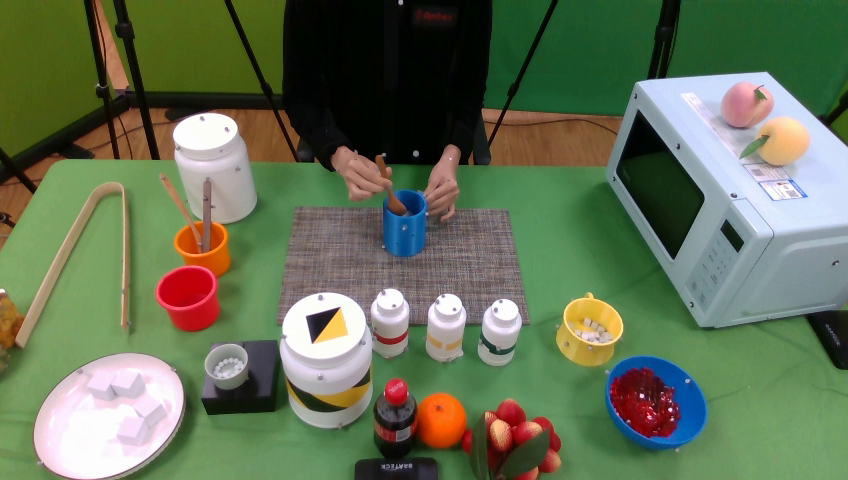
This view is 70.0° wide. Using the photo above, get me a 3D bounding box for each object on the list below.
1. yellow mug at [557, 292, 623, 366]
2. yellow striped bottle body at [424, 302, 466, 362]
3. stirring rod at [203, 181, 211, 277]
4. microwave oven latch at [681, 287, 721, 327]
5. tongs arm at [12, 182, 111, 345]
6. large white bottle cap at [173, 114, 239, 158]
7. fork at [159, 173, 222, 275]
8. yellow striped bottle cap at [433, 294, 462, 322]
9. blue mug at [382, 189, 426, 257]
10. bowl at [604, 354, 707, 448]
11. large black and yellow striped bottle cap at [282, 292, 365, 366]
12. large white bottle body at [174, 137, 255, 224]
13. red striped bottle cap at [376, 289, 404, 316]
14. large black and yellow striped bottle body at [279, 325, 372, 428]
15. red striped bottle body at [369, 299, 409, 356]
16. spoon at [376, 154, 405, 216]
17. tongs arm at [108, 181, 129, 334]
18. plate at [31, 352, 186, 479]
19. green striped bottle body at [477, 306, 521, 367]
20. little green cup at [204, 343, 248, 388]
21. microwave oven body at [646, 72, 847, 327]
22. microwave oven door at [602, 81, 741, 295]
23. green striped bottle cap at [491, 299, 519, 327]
[{"bbox_3d":[0.285,0.145,1.051,0.100,0.064,0.130,7,45,4],"label":"yellow mug"},{"bbox_3d":[0.035,0.143,0.995,0.063,0.121,0.062,3,46,-3],"label":"yellow striped bottle body"},{"bbox_3d":[-0.396,-0.021,1.107,0.014,0.006,0.176,-1,89,-1],"label":"stirring rod"},{"bbox_3d":[0.494,0.119,1.087,0.030,0.029,0.078,-6,46,-9],"label":"microwave oven latch"},{"bbox_3d":[-0.657,0.027,1.109,0.028,0.028,0.385,-2,45,1],"label":"tongs arm"},{"bbox_3d":[-0.403,-0.195,1.122,0.115,0.018,0.114,2,47,-2],"label":"large white bottle cap"},{"bbox_3d":[-0.427,-0.029,1.103,0.028,0.018,0.207,-31,99,-31],"label":"fork"},{"bbox_3d":[0.037,0.107,0.958,0.044,0.019,0.044,2,45,-2],"label":"yellow striped bottle cap"},{"bbox_3d":[-0.031,-0.042,1.173,0.082,0.106,0.116,28,50,21],"label":"blue mug"},{"bbox_3d":[0.346,0.261,0.937,0.151,0.077,0.150,2,46,-2],"label":"bowl"},{"bbox_3d":[-0.139,0.121,0.841,0.115,0.019,0.114,3,47,-3],"label":"large black and yellow striped bottle cap"},{"bbox_3d":[-0.408,-0.136,1.183,0.131,0.185,0.130,2,46,-2],"label":"large white bottle body"},{"bbox_3d":[-0.055,0.098,0.958,0.044,0.018,0.044,0,48,0],"label":"red striped bottle cap"},{"bbox_3d":[-0.143,0.181,0.900,0.131,0.185,0.130,2,46,-2],"label":"large black and yellow striped bottle body"},{"bbox_3d":[-0.058,0.134,0.997,0.063,0.120,0.062,4,47,-4],"label":"red striped bottle body"},{"bbox_3d":[-0.065,-0.093,1.082,0.041,0.195,0.021,-11,56,2],"label":"spoon"},{"bbox_3d":[-0.571,0.019,1.123,0.051,0.026,0.382,-10,47,-12],"label":"tongs arm"},{"bbox_3d":[-0.459,0.262,0.898,0.209,0.038,0.208,2,46,-2],"label":"plate"},{"bbox_3d":[0.124,0.151,0.995,0.063,0.120,0.063,2,46,-2],"label":"green striped bottle body"},{"bbox_3d":[-0.294,0.190,0.909,0.061,0.039,0.061,1,48,0],"label":"little green cup"},{"bbox_3d":[0.607,-0.089,1.164,0.326,0.261,0.438,-7,46,-10],"label":"microwave oven body"},{"bbox_3d":[0.456,-0.107,1.162,0.039,0.245,0.353,-7,47,-11],"label":"microwave oven door"},{"bbox_3d":[0.128,0.115,0.958,0.044,0.020,0.044,1,46,-1],"label":"green striped bottle cap"}]
